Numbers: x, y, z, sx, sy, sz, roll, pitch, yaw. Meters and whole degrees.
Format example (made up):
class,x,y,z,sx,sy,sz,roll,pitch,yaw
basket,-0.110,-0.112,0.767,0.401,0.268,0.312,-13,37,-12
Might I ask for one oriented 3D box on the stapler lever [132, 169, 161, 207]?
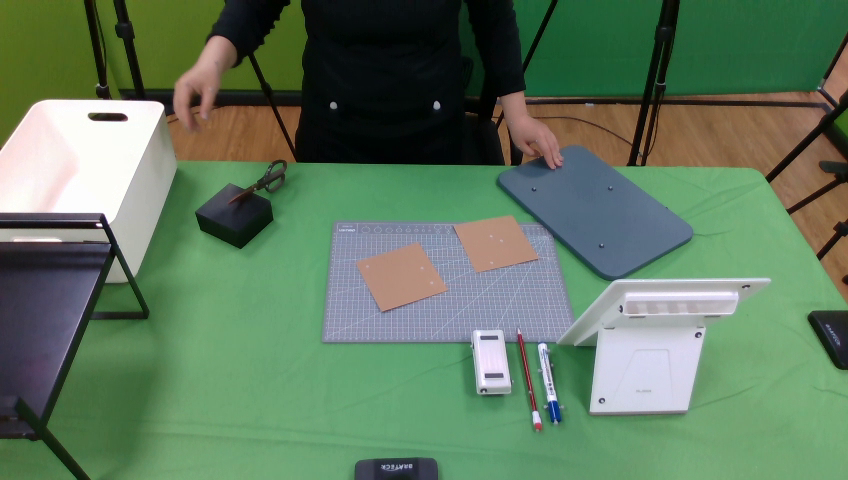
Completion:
class,x,y,z,sx,sy,sz,roll,pitch,yaw
stapler lever,-0.558,-0.113,1.218,0.027,0.040,0.117,0,42,-8

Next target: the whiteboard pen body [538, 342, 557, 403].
class,x,y,z,sx,sy,sz,roll,pitch,yaw
whiteboard pen body,0.205,0.228,0.997,0.017,0.017,0.140,1,47,-3

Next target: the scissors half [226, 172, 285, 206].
class,x,y,z,sx,sy,sz,roll,pitch,yaw
scissors half,-0.340,-0.101,1.230,0.013,0.040,0.175,22,30,17

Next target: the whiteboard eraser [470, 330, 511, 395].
class,x,y,z,sx,sy,sz,roll,pitch,yaw
whiteboard eraser,0.110,0.202,0.998,0.055,0.042,0.112,1,46,-5

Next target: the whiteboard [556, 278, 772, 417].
class,x,y,z,sx,sy,sz,roll,pitch,yaw
whiteboard,0.347,0.174,0.903,0.217,0.306,0.143,1,65,-4

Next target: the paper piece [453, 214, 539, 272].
class,x,y,z,sx,sy,sz,roll,pitch,yaw
paper piece,0.142,0.003,1.213,0.135,0.004,0.135,-11,47,-14

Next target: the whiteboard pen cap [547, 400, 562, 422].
class,x,y,z,sx,sy,sz,roll,pitch,yaw
whiteboard pen cap,0.205,0.269,0.956,0.018,0.018,0.033,0,47,-5

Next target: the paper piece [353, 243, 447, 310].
class,x,y,z,sx,sy,sz,roll,pitch,yaw
paper piece,-0.045,0.066,1.137,0.136,0.009,0.137,-14,47,-22

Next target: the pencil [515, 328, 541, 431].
class,x,y,z,sx,sy,sz,roll,pitch,yaw
pencil,0.169,0.224,1.002,0.012,0.012,0.192,-1,46,-6

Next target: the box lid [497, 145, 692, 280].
class,x,y,z,sx,sy,sz,roll,pitch,yaw
box lid,0.360,-0.073,1.304,0.263,0.015,0.369,-24,51,-25

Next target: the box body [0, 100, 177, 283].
class,x,y,z,sx,sy,sz,roll,pitch,yaw
box body,-0.639,-0.095,1.140,0.254,0.161,0.361,0,46,-4

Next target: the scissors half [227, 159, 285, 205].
class,x,y,z,sx,sy,sz,roll,pitch,yaw
scissors half,-0.336,-0.116,1.218,0.013,0.040,0.175,26,47,13

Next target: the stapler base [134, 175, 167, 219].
class,x,y,z,sx,sy,sz,roll,pitch,yaw
stapler base,-0.559,-0.093,1.234,0.041,0.024,0.129,0,43,-8
